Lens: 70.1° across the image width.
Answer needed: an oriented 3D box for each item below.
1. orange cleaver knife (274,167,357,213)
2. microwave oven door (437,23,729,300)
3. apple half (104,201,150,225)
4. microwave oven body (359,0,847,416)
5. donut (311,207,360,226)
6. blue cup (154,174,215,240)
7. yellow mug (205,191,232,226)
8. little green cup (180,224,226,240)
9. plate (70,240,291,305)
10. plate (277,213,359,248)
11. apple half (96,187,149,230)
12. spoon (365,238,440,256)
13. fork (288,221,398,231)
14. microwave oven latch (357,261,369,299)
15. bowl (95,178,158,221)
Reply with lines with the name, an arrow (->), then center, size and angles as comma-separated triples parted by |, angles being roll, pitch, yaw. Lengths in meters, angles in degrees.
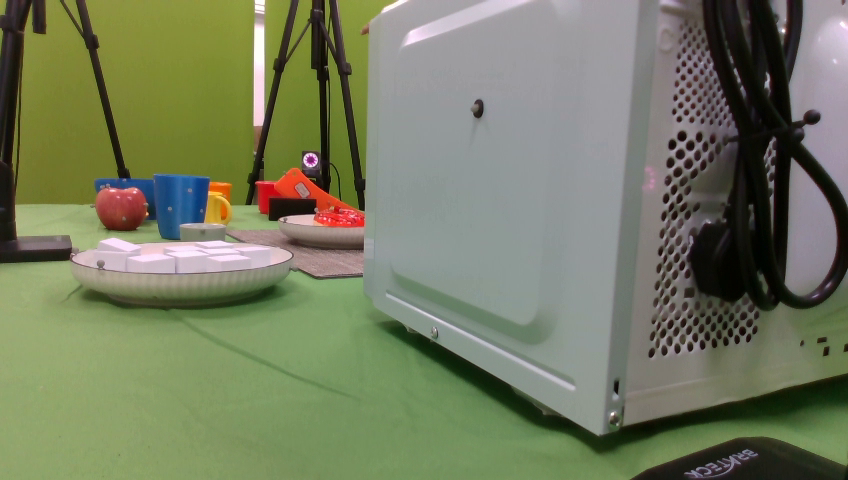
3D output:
orange cleaver knife -> -0.238, -0.091, 1.381 | 0.212, 0.077, 0.012 | 31, 2, -19
microwave oven door -> 0.181, -0.072, 0.621 | 0.358, 0.243, 0.039 | -2, 8, -29
apple half -> -0.548, -0.044, 1.115 | 0.081, 0.033, 0.081 | 18, 6, -2
microwave oven body -> 0.211, -0.047, 0.474 | 0.444, 0.260, 0.324 | -1, 7, -28
donut -> -0.137, -0.029, 0.995 | 0.099, 0.048, 0.099 | 4, 8, 0
blue cup -> -0.391, -0.053, 0.978 | 0.093, 0.100, 0.092 | 4, 6, 0
yellow mug -> -0.415, -0.057, 1.131 | 0.130, 0.064, 0.100 | 6, 8, 16
little green cup -> -0.309, -0.001, 0.846 | 0.061, 0.038, 0.061 | 2, 8, 0
plate -> -0.242, 0.031, 0.618 | 0.208, 0.039, 0.207 | 2, 8, 0
plate -> -0.135, -0.017, 0.993 | 0.209, 0.038, 0.209 | 3, 8, 0
apple half -> -0.516, -0.052, 1.036 | 0.081, 0.074, 0.053 | 3, 11, -26
spoon -> -0.023, 0.006, 0.907 | 0.041, 0.021, 0.194 | -16, -3, 30
fork -> -0.148, -0.025, 1.120 | 0.208, 0.018, 0.028 | -3, -1, -22
microwave oven latch -> -0.019, 0.034, 0.530 | 0.079, 0.029, 0.030 | 0, 7, -25
bowl -> -0.576, -0.081, 1.217 | 0.151, 0.077, 0.151 | 3, 8, 0
